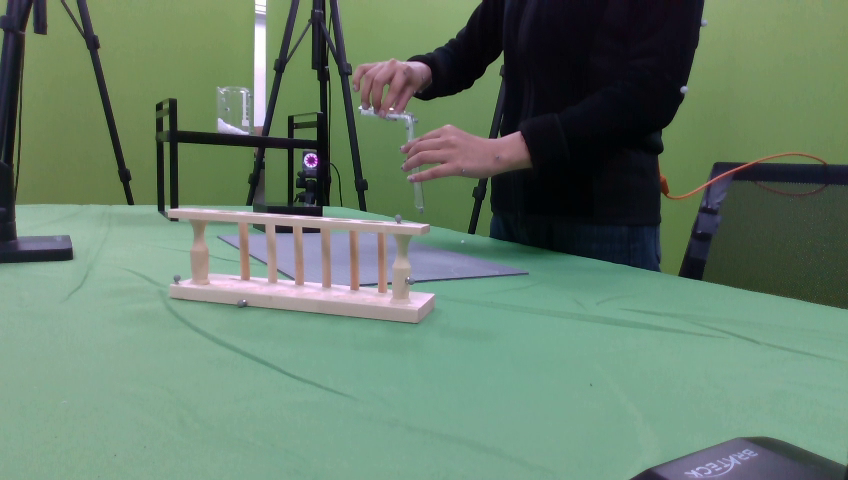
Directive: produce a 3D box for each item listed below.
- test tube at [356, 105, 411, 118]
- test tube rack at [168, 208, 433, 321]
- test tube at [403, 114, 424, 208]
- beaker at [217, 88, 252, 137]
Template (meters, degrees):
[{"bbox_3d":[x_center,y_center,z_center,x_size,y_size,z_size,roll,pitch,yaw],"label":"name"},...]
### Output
[{"bbox_3d":[-0.070,-0.213,1.003,0.017,0.017,0.149,-4,14,-37],"label":"test tube"},{"bbox_3d":[-0.116,0.017,0.574,0.242,0.085,0.067,4,8,13],"label":"test tube rack"},{"bbox_3d":[-0.017,-0.122,0.930,0.017,0.150,0.017,-7,-13,-1],"label":"test tube"},{"bbox_3d":[-0.412,-0.276,1.310,0.074,0.100,0.084,4,8,16],"label":"beaker"}]
